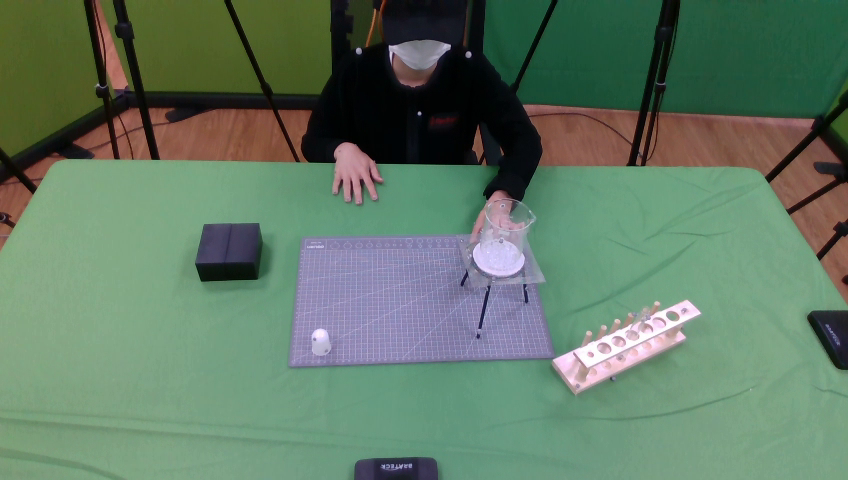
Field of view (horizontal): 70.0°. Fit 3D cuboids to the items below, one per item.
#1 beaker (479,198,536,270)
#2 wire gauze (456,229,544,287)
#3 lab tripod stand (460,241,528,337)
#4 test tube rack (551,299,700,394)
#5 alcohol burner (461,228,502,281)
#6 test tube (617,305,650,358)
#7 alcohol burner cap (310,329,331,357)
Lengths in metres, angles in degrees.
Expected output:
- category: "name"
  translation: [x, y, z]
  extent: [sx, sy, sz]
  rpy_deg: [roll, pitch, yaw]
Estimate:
- category: "beaker"
  translation: [0.131, -0.007, 0.975]
  extent: [0.084, 0.101, 0.073]
  rpy_deg: [2, 46, -3]
- category: "wire gauze"
  translation: [0.125, 0.030, 1.008]
  extent: [0.125, 0.011, 0.120]
  rpy_deg: [-3, 48, -11]
- category: "lab tripod stand"
  translation: [0.122, 0.075, 1.054]
  extent: [0.148, 0.132, 0.147]
  rpy_deg: [3, 44, -2]
- category: "test tube rack"
  translation: [0.339, 0.166, 1.021]
  extent: [0.242, 0.085, 0.066]
  rpy_deg: [-19, 50, -21]
- category: "alcohol burner"
  translation: [0.109, 0.020, 1.121]
  extent: [0.078, 0.120, 0.077]
  rpy_deg: [2, 48, -2]
- category: "test tube"
  translation: [0.333, 0.149, 0.967]
  extent: [0.017, 0.151, 0.017]
  rpy_deg: [0, 52, 1]
- category: "alcohol burner cap"
  translation: [-0.173, 0.168, 1.004]
  extent: [0.034, 0.048, 0.033]
  rpy_deg: [2, 46, -2]
